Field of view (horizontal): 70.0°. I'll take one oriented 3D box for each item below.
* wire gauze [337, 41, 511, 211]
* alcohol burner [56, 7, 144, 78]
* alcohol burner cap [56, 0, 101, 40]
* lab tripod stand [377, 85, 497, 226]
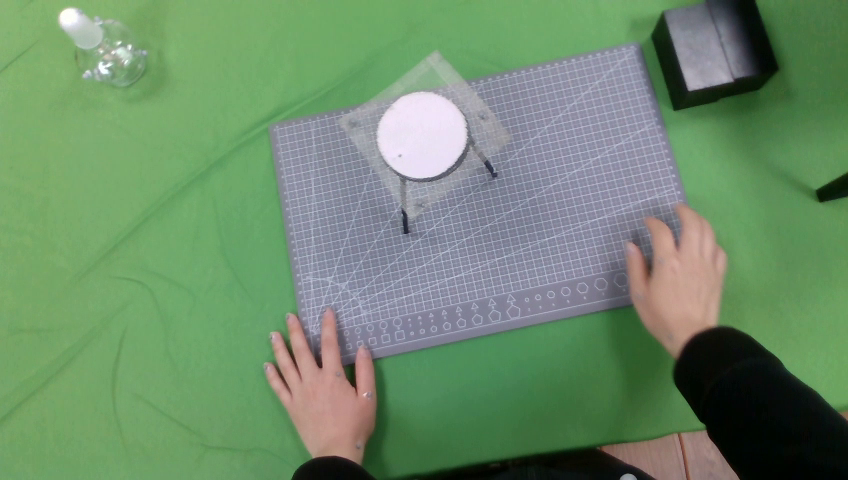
[{"bbox_3d":[-0.001,-0.111,0.569,0.121,0.011,0.124,-37,78,-2],"label":"wire gauze"},{"bbox_3d":[-0.380,-0.239,0.703,0.078,0.119,0.077,-1,80,3],"label":"alcohol burner"},{"bbox_3d":[-0.384,-0.247,0.667,0.034,0.048,0.033,0,79,-2],"label":"alcohol burner cap"},{"bbox_3d":[0.002,-0.095,0.635,0.148,0.132,0.147,-1,79,6],"label":"lab tripod stand"}]
